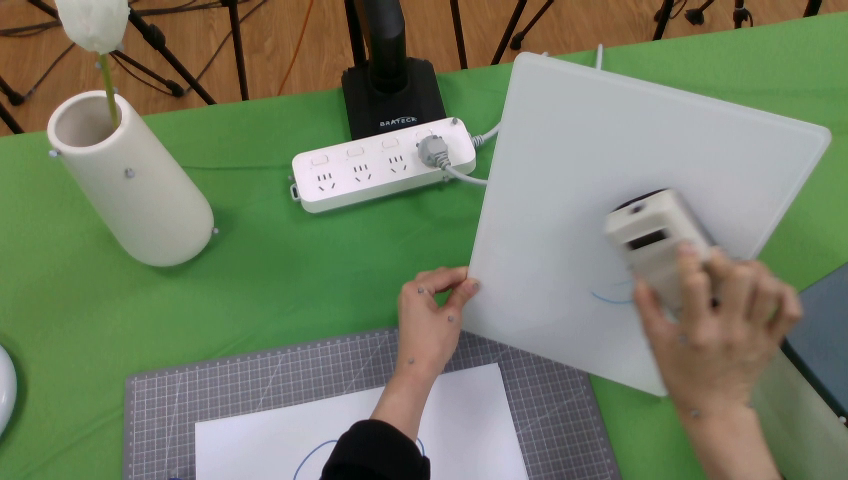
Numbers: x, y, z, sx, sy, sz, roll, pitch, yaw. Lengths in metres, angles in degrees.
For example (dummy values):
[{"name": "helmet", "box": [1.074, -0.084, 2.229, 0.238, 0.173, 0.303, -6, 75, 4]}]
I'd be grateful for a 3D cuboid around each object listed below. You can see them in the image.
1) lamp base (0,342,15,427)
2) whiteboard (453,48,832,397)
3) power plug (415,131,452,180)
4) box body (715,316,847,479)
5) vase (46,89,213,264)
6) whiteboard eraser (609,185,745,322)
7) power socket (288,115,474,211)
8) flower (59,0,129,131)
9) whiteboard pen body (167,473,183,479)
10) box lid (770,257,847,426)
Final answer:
[{"name": "lamp base", "box": [-0.489, 0.116, 0.514, 0.178, 0.182, 0.160, 19, 63, 13]}, {"name": "whiteboard", "box": [0.171, -0.031, 0.557, 0.216, 0.308, 0.143, 18, 43, 10]}, {"name": "power plug", "box": [0.009, -0.089, 0.681, 0.035, 0.053, 0.072, -5, 68, -3]}, {"name": "box body", "box": [0.462, 0.176, 0.493, 0.254, 0.161, 0.361, -27, 65, -14]}, {"name": "vase", "box": [-0.282, -0.055, 0.594, 0.098, 0.201, 0.097, -1, 61, 1]}, {"name": "whiteboard eraser", "box": [0.194, 0.011, 0.464, 0.113, 0.055, 0.041, 48, 39, -18]}, {"name": "power socket", "box": [-0.048, -0.091, 0.708, 0.227, 0.033, 0.071, -14, 64, -8]}, {"name": "flower", "box": [-0.262, -0.090, 0.520, 0.038, 0.363, 0.044, 38, 58, 0]}, {"name": "whiteboard pen body", "box": [-0.221, 0.273, 0.516, 0.017, 0.017, 0.139, -2, 64, -1]}, {"name": "box lid", "box": [0.460, 0.139, 0.428, 0.263, 0.015, 0.368, -27, 65, -13]}]
